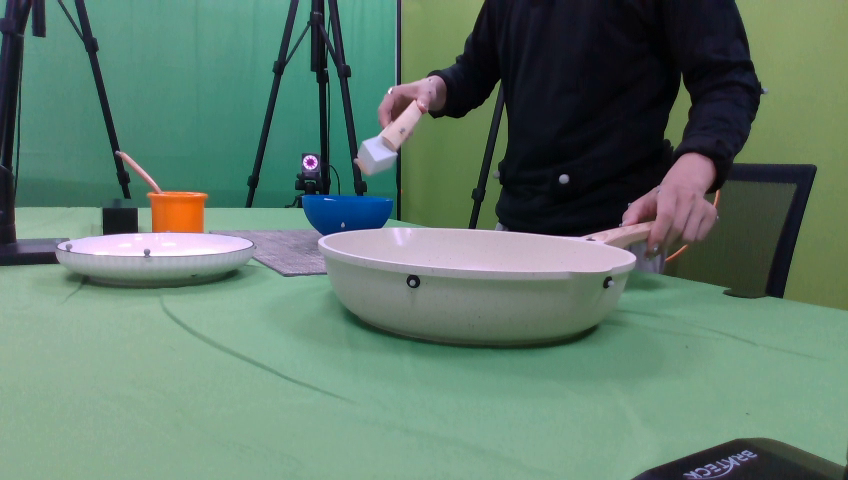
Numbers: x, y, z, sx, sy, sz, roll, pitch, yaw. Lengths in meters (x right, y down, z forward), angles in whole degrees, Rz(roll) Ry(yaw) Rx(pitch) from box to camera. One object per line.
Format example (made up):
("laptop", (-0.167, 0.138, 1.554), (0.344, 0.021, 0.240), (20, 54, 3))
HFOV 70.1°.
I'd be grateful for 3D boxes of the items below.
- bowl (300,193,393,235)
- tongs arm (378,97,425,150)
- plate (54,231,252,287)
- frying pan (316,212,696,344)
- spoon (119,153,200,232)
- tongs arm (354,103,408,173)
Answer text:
("bowl", (-0.128, -0.034, 0.995), (0.151, 0.077, 0.151), (2, 7, 0))
("tongs arm", (-0.029, -0.181, 0.909), (0.028, 0.028, 0.387), (43, 18, -10))
("plate", (-0.309, 0.020, 0.705), (0.208, 0.039, 0.207), (2, 7, 0))
("frying pan", (0.133, 0.013, 0.630), (0.490, 0.102, 0.305), (-12, 14, -31))
("spoon", (-0.439, -0.077, 1.001), (0.021, 0.193, 0.042), (-43, -6, 22))
("tongs arm", (-0.051, -0.164, 0.918), (0.050, 0.026, 0.384), (-41, 11, 15))
